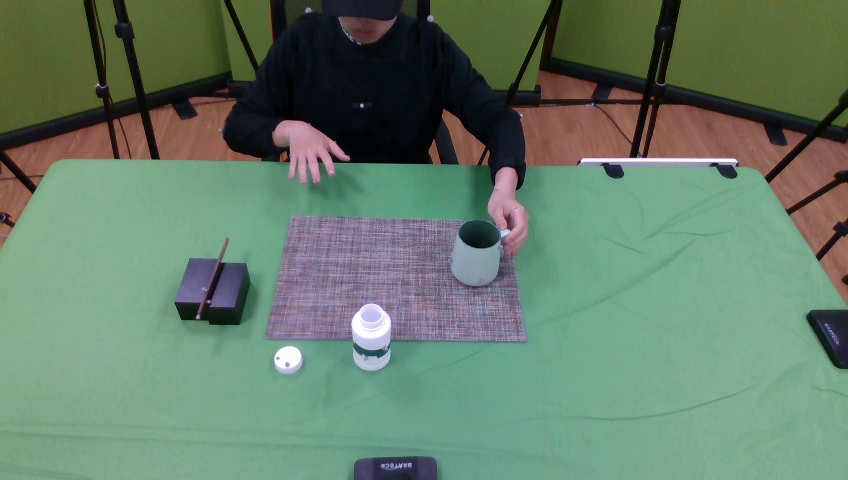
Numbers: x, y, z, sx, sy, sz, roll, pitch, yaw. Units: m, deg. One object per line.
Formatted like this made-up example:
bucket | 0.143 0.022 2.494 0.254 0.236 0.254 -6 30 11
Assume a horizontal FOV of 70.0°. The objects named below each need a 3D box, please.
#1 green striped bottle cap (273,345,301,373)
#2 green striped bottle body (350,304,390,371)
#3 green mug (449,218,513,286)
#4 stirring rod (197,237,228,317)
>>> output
green striped bottle cap | -0.225 0.195 0.997 0.044 0.020 0.044 1 50 -1
green striped bottle body | -0.086 0.154 0.976 0.063 0.120 0.063 2 46 -2
green mug | 0.110 0.018 1.126 0.125 0.105 0.092 -19 50 -21
stirring rod | -0.363 0.060 1.047 0.006 0.014 0.175 7 46 -3
